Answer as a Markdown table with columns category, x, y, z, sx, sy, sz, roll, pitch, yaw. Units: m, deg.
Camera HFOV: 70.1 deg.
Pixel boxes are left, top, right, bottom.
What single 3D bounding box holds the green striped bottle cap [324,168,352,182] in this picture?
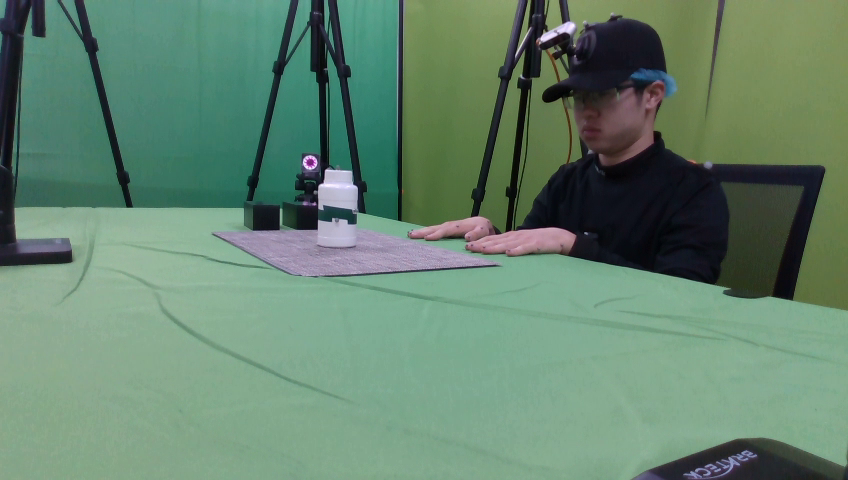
| category | x | y | z | sx | sy | sz | roll | pitch | yaw |
| --- | --- | --- | --- | --- | --- | --- | --- | --- | --- |
| green striped bottle cap | -0.136 | -0.103 | 0.959 | 0.044 | 0.020 | 0.044 | 4 | 9 | 0 |

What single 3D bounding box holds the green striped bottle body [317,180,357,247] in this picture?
| category | x | y | z | sx | sy | sz | roll | pitch | yaw |
| --- | --- | --- | --- | --- | --- | --- | --- | --- | --- |
| green striped bottle body | -0.138 | -0.051 | 0.964 | 0.063 | 0.119 | 0.063 | 2 | 7 | 0 |
